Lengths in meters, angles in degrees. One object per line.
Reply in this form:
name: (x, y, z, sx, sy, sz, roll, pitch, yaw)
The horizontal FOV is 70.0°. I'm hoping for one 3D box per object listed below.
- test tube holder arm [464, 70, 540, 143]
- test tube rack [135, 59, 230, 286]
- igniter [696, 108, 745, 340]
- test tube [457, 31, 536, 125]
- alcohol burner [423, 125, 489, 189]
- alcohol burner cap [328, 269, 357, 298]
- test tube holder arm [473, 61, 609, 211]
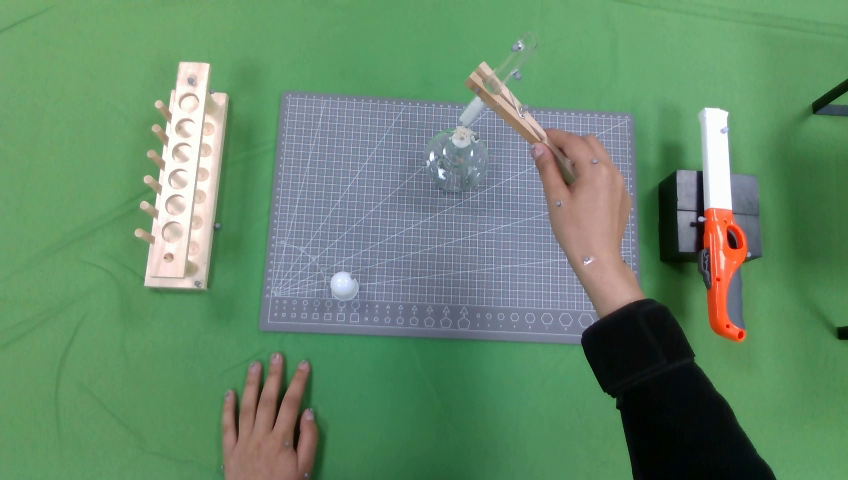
test tube holder arm: (0.073, -0.121, 0.553, 0.088, 0.015, 0.010, 39, 74, -8)
test tube rack: (-0.277, -0.075, 0.686, 0.067, 0.085, 0.241, 3, 77, -3)
igniter: (0.340, -0.024, 0.700, 0.057, 0.025, 0.275, 5, 74, -5)
test tube: (0.061, -0.140, 0.546, 0.017, 0.150, 0.017, 4, 74, -16)
alcohol burner: (0.038, -0.102, 0.697, 0.078, 0.119, 0.077, 0, 78, -2)
alcohol burner cap: (-0.094, 0.048, 0.692, 0.034, 0.048, 0.033, 1, 78, -6)
test tube holder arm: (0.109, -0.094, 0.561, 0.179, 0.015, 0.013, 45, 73, -7)
